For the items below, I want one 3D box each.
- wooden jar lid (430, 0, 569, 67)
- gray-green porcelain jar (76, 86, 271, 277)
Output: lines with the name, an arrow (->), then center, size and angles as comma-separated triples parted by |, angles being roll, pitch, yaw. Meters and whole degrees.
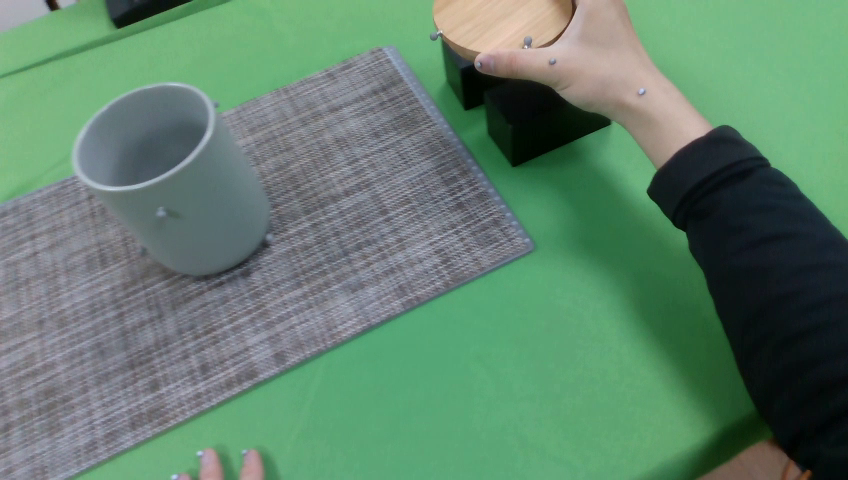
wooden jar lid -> 0.059, -0.175, 0.478 | 0.108, 0.021, 0.107 | -2, 59, 4
gray-green porcelain jar -> -0.187, -0.039, 0.480 | 0.106, 0.128, 0.105 | -4, 55, 7
